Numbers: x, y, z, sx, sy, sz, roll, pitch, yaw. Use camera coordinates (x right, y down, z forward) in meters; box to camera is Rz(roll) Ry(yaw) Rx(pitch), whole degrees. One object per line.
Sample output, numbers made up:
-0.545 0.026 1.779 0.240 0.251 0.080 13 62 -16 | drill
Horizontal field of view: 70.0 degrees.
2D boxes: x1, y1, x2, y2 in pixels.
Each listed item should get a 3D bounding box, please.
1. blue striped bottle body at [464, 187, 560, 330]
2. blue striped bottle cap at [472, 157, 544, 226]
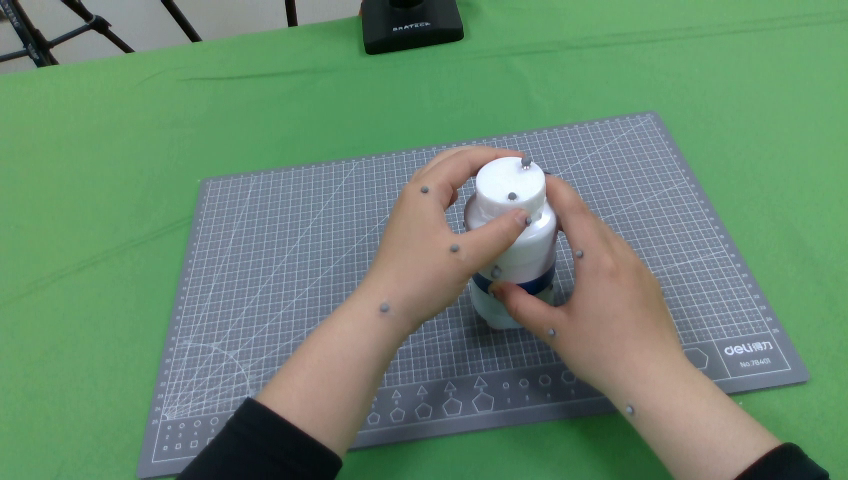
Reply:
0.061 0.004 0.420 0.063 0.122 0.062 -4 48 5 | blue striped bottle body
0.052 -0.031 0.380 0.044 0.021 0.044 2 51 -2 | blue striped bottle cap
